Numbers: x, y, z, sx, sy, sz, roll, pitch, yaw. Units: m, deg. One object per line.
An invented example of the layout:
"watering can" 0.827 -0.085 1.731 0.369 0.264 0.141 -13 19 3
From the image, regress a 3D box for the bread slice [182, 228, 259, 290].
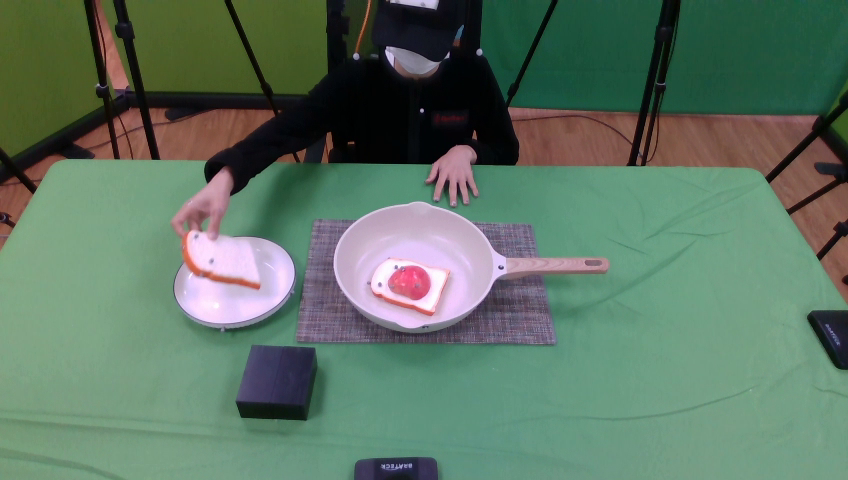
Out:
"bread slice" -0.341 0.029 1.018 0.132 0.019 0.104 22 34 -47

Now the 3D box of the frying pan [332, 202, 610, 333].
"frying pan" 0.085 0.052 1.093 0.488 0.103 0.305 -1 46 6

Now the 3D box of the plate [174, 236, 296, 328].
"plate" -0.334 0.077 1.087 0.208 0.039 0.206 2 46 -2

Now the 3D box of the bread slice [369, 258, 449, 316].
"bread slice" -0.032 0.083 1.107 0.134 0.018 0.106 13 45 8

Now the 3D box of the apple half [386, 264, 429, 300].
"apple half" -0.027 0.068 1.090 0.081 0.033 0.081 3 48 -3
